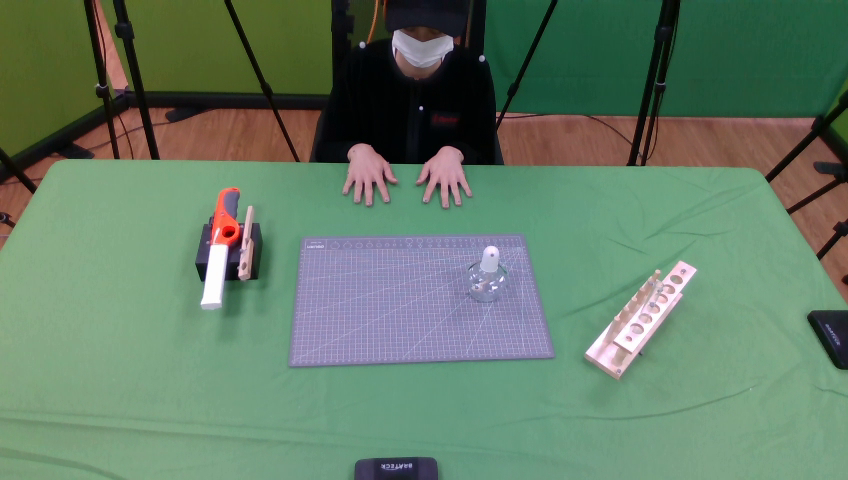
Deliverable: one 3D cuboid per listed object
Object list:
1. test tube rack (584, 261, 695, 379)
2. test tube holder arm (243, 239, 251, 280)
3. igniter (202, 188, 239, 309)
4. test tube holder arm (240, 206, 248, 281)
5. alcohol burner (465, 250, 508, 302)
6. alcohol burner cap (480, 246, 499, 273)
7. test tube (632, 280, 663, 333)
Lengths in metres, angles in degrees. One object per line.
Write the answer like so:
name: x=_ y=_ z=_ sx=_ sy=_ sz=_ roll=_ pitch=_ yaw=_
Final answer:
test tube rack: x=0.380 y=0.127 z=1.062 sx=0.066 sy=0.085 sz=0.242 roll=34 pitch=53 yaw=26
test tube holder arm: x=-0.315 y=0.034 z=1.077 sx=0.010 sy=0.015 sz=0.087 roll=-4 pitch=47 yaw=-9
igniter: x=-0.367 y=0.006 z=1.095 sx=0.057 sy=0.025 sz=0.274 roll=-2 pitch=49 yaw=-7
test tube holder arm: x=-0.328 y=0.002 z=1.106 sx=0.013 sy=0.015 sz=0.177 roll=-6 pitch=48 yaw=-10
alcohol burner: x=0.114 y=0.057 z=1.085 sx=0.078 sy=0.120 sz=0.077 roll=2 pitch=48 yaw=-2
alcohol burner cap: x=0.117 y=0.032 z=1.060 sx=0.034 sy=0.048 sz=0.033 roll=3 pitch=42 yaw=-3
test tube: x=0.363 y=0.121 z=0.997 sx=0.017 sy=0.151 sz=0.017 roll=2 pitch=44 yaw=-1
